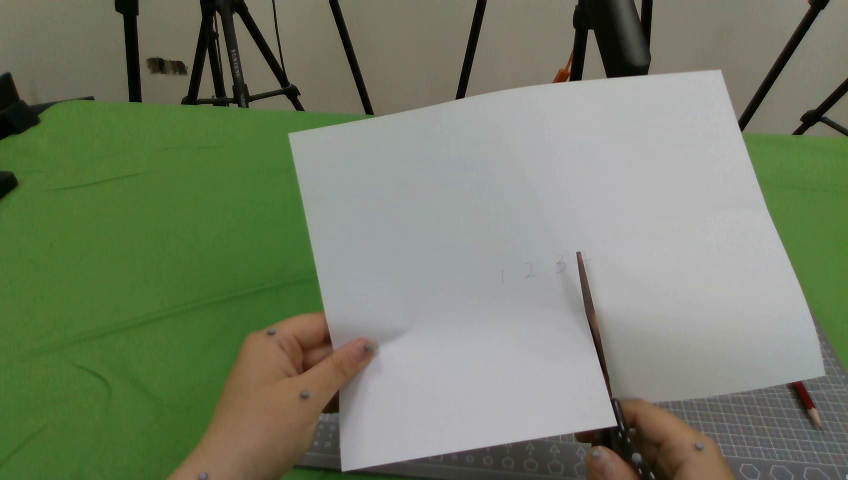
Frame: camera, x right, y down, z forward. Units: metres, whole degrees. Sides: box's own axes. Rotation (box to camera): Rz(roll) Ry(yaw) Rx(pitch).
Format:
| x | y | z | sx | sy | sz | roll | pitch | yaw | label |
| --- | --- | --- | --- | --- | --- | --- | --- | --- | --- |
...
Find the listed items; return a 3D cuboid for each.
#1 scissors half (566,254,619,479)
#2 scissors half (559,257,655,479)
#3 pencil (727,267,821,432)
| x | y | z | sx | sy | sz | roll | pitch | yaw | label |
| --- | --- | --- | --- | --- | --- | --- | --- | --- | --- |
| 0.103 | 0.094 | 0.363 | 0.013 | 0.175 | 0.040 | -13 | 7 | -8 | scissors half |
| 0.104 | 0.090 | 0.341 | 0.013 | 0.040 | 0.174 | -14 | 68 | -3 | scissors half |
| 0.310 | 0.089 | 0.543 | 0.012 | 0.012 | 0.192 | 2 | 38 | 1 | pencil |
